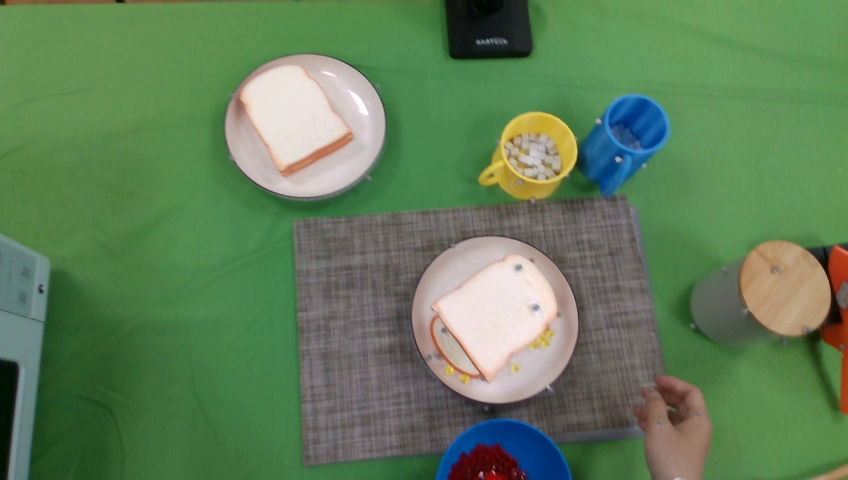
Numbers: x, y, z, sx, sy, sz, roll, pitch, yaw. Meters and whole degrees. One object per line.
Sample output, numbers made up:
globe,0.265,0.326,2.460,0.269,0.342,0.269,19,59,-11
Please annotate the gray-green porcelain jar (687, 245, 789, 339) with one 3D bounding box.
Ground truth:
gray-green porcelain jar,0.392,0.064,0.735,0.106,0.127,0.105,1,75,-4

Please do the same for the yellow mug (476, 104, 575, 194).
yellow mug,0.127,-0.112,0.793,0.131,0.064,0.099,-25,77,-9

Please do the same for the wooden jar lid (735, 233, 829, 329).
wooden jar lid,0.395,0.046,0.675,0.108,0.021,0.108,2,77,-6

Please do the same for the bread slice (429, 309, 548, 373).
bread slice,0.075,0.098,0.744,0.131,0.019,0.104,-37,80,-14

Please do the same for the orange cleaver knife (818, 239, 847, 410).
orange cleaver knife,0.522,0.106,0.757,0.012,0.077,0.212,-5,102,-5

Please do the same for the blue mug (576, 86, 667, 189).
blue mug,0.249,-0.122,0.785,0.082,0.106,0.116,16,74,1

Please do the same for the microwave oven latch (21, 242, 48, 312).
microwave oven latch,-0.456,0.043,0.699,0.030,0.029,0.078,0,75,-5

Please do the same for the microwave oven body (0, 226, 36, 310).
microwave oven body,-0.586,0.193,0.548,0.326,0.261,0.439,-2,76,-6

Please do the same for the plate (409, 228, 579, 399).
plate,0.084,0.089,0.746,0.209,0.038,0.208,1,75,-4

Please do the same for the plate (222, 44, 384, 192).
plate,-0.156,-0.157,0.797,0.208,0.039,0.206,1,75,-4

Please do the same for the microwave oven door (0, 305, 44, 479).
microwave oven door,-0.438,0.227,0.546,0.039,0.245,0.353,-3,75,-5

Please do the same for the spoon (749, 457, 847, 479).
spoon,0.476,0.286,0.735,0.194,0.022,0.041,-14,59,-8

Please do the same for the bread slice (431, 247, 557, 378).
bread slice,0.085,0.072,0.689,0.134,0.018,0.107,-39,88,-20

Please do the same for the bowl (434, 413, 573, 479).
bowl,0.083,0.271,0.680,0.151,0.077,0.150,1,75,-4
